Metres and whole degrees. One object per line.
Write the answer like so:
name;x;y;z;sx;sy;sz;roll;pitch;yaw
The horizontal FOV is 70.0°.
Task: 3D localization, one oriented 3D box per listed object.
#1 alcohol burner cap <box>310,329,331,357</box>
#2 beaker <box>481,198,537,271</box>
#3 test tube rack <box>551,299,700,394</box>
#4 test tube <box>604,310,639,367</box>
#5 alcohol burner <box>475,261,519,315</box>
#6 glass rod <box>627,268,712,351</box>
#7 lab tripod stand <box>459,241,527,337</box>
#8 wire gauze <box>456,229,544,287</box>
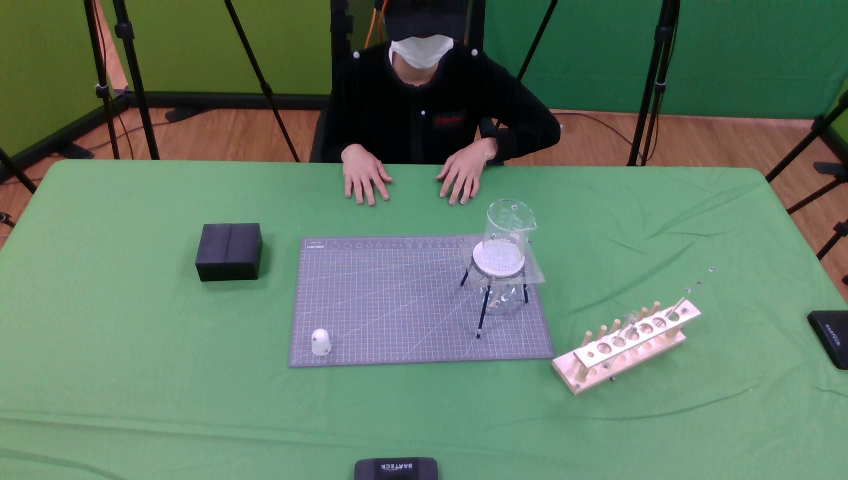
alcohol burner cap;-0.173;0.168;1.005;0.034;0.048;0.033;2;46;-2
beaker;0.133;-0.005;0.974;0.084;0.101;0.074;23;49;16
test tube rack;0.339;0.166;1.021;0.242;0.085;0.066;-19;50;-21
test tube;0.310;0.158;0.957;0.017;0.151;0.017;1;49;-1
alcohol burner;0.131;0.078;1.067;0.078;0.119;0.077;2;48;-2
glass rod;0.400;0.117;0.995;0.008;0.200;0.008;26;29;-15
lab tripod stand;0.122;0.075;1.054;0.148;0.132;0.147;3;44;-3
wire gauze;0.125;0.030;1.008;0.125;0.011;0.120;-3;48;-11
